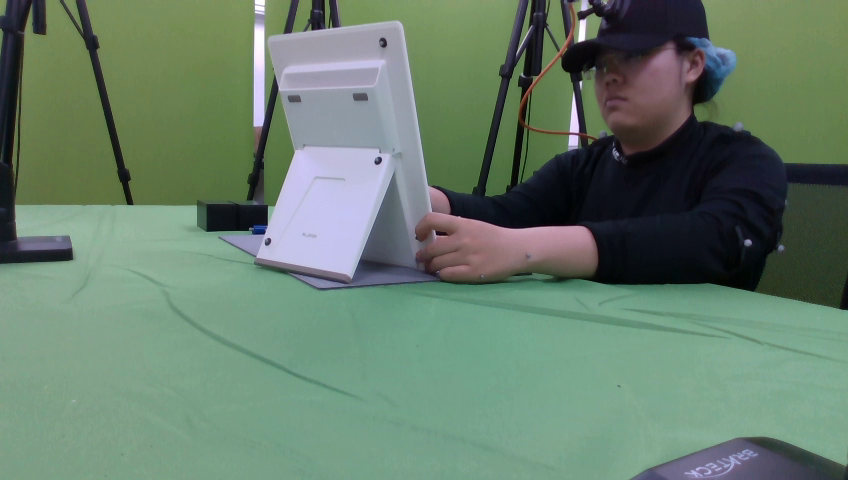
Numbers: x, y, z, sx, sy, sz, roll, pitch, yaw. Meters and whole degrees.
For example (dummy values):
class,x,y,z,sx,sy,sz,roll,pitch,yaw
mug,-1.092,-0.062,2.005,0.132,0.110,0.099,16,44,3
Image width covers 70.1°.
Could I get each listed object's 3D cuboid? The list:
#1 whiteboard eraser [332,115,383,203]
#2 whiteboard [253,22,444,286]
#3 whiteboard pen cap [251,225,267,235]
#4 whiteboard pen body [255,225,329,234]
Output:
class,x,y,z,sx,sy,sz,roll,pitch,yaw
whiteboard eraser,-0.089,-0.105,0.790,0.055,0.113,0.042,13,31,33
whiteboard,-0.125,-0.080,0.715,0.216,0.305,0.144,9,29,36
whiteboard pen cap,-0.288,-0.018,1.072,0.033,0.018,0.018,-3,9,-34
whiteboard pen body,-0.239,-0.019,1.105,0.141,0.017,0.017,-2,9,-34
